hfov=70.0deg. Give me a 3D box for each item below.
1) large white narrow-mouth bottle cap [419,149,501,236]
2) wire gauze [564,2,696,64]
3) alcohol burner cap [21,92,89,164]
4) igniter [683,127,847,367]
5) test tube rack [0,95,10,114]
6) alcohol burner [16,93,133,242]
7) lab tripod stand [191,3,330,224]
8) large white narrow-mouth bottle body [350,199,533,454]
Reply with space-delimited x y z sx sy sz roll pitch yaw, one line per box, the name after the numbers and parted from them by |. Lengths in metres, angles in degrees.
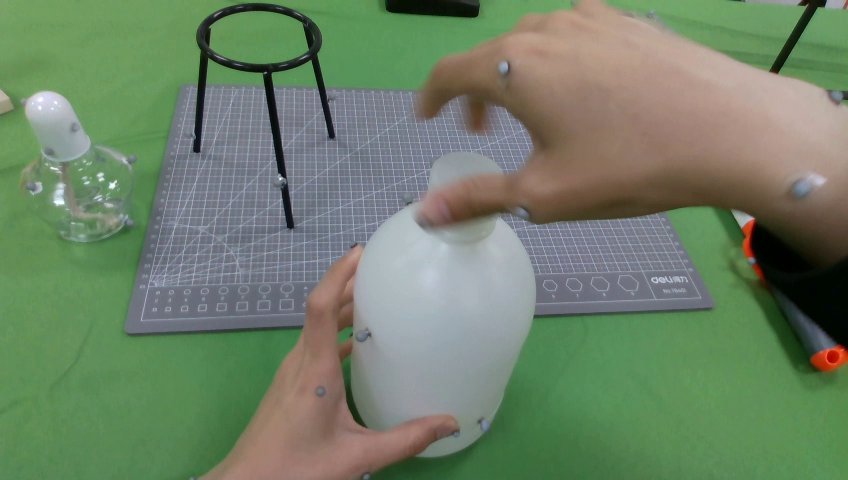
0.016 -0.022 0.280 0.038 0.024 0.037 4 47 -4 | large white narrow-mouth bottle cap
0.229 -0.234 0.686 0.122 0.011 0.123 0 49 -11 | wire gauze
-0.254 -0.079 0.414 0.034 0.048 0.033 4 54 -4 | alcohol burner cap
0.299 -0.008 0.545 0.057 0.025 0.273 8 47 -16 | igniter
-0.479 -0.105 0.470 0.066 0.086 0.242 37 53 22 | test tube rack
-0.258 -0.056 0.442 0.078 0.120 0.077 6 46 -5 | alcohol burner
-0.128 -0.107 0.492 0.149 0.132 0.147 6 48 -6 | lab tripod stand
0.008 0.038 0.345 0.102 0.196 0.101 4 47 -4 | large white narrow-mouth bottle body
